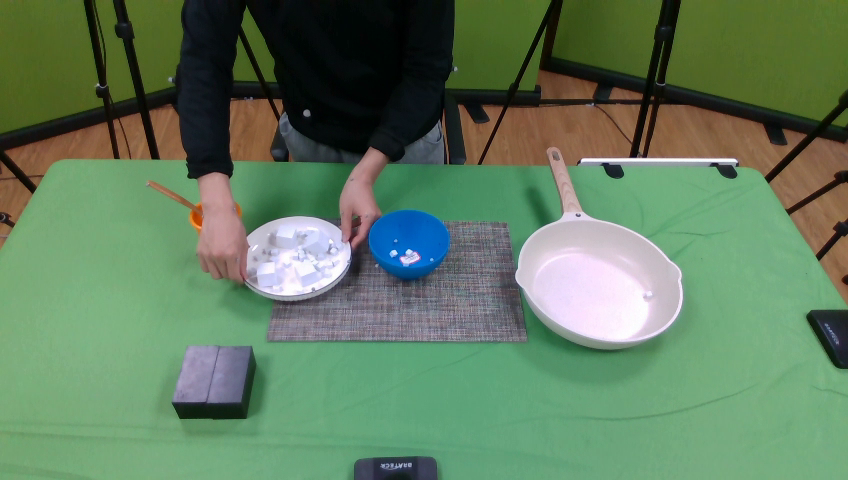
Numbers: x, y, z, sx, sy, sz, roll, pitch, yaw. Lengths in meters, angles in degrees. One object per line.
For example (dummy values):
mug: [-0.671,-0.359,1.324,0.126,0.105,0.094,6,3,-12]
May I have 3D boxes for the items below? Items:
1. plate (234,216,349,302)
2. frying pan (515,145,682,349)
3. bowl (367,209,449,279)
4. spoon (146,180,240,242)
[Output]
plate: [-0.243,0.038,1.124,0.208,0.039,0.206,2,45,-2]
frying pan: [0.303,-0.004,1.168,0.307,0.103,0.484,-2,55,-7]
bowl: [-0.031,0.020,1.132,0.151,0.077,0.150,2,46,-2]
spoon: [-0.428,-0.055,1.130,0.021,0.195,0.041,-30,35,30]
